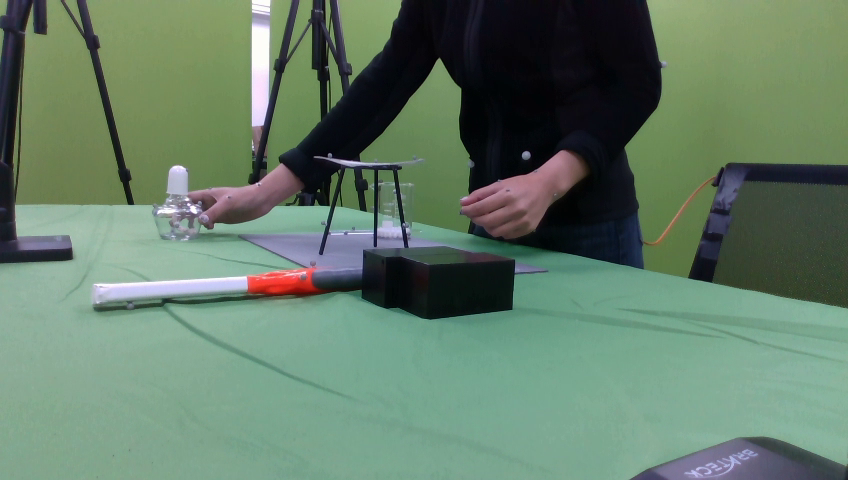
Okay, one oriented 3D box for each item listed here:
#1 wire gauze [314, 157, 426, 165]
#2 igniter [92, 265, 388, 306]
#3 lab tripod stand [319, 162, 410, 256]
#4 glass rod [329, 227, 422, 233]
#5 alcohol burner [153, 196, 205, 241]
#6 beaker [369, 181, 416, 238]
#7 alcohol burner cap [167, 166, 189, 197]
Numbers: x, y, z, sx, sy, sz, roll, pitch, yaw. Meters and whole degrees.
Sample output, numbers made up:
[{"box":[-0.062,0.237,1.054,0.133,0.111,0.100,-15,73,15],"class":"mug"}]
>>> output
[{"box":[-0.080,-0.113,0.868,0.122,0.011,0.124,-4,10,-36],"class":"wire gauze"},{"box":[-0.164,0.042,0.589,0.278,0.025,0.057,-2,-6,-31],"class":"igniter"},{"box":[-0.081,-0.047,0.879,0.148,0.131,0.148,2,9,0],"class":"lab tripod stand"},{"box":[-0.087,-0.019,1.148,0.201,0.008,0.008,-3,8,-32],"class":"glass rod"},{"box":[-0.394,-0.059,0.973,0.078,0.119,0.078,0,8,0],"class":"alcohol burner"},{"box":[-0.058,-0.056,1.089,0.084,0.100,0.074,2,7,0],"class":"beaker"},{"box":[-0.393,-0.095,0.969,0.034,0.048,0.034,7,8,-1],"class":"alcohol burner cap"}]
